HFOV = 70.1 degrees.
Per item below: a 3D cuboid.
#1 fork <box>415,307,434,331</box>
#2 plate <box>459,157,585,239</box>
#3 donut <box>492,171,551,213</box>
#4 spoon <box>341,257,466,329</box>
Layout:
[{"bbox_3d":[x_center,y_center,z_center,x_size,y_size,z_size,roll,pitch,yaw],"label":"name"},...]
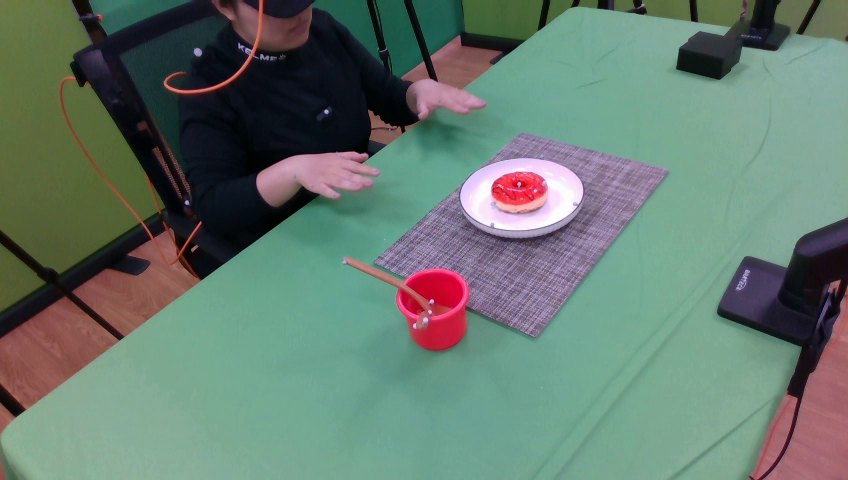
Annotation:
[{"bbox_3d":[0.001,0.098,0.761,0.028,0.207,0.018,26,87,3],"label":"fork"},{"bbox_3d":[0.163,-0.068,1.015,0.209,0.038,0.208,-5,40,5],"label":"plate"},{"bbox_3d":[0.163,-0.083,1.015,0.099,0.048,0.098,-6,37,5],"label":"donut"},{"bbox_3d":[-0.025,0.069,0.811,0.195,0.021,0.041,34,30,-18],"label":"spoon"}]
